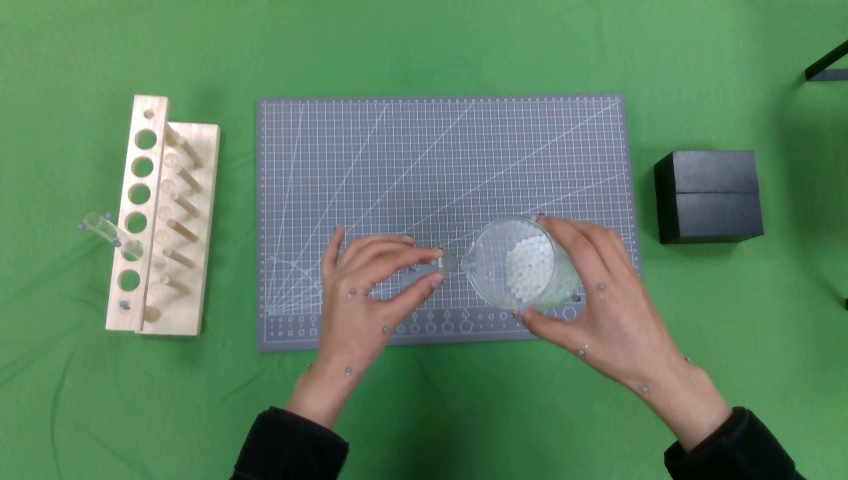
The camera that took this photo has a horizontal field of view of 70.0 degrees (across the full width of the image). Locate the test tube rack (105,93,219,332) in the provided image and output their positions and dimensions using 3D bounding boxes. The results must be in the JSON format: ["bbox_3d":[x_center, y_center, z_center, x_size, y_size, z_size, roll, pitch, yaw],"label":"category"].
[{"bbox_3d":[-0.275,-0.025,0.649,0.067,0.085,0.241,3,80,-4],"label":"test tube rack"}]

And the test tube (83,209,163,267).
[{"bbox_3d":[-0.290,0.002,0.594,0.017,0.151,0.017,1,73,-2],"label":"test tube"}]

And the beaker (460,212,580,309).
[{"bbox_3d":[0.086,0.022,0.513,0.083,0.101,0.073,-2,81,26],"label":"beaker"}]

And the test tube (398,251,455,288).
[{"bbox_3d":[-0.001,0.030,0.573,0.017,0.150,0.017,3,79,-16],"label":"test tube"}]
